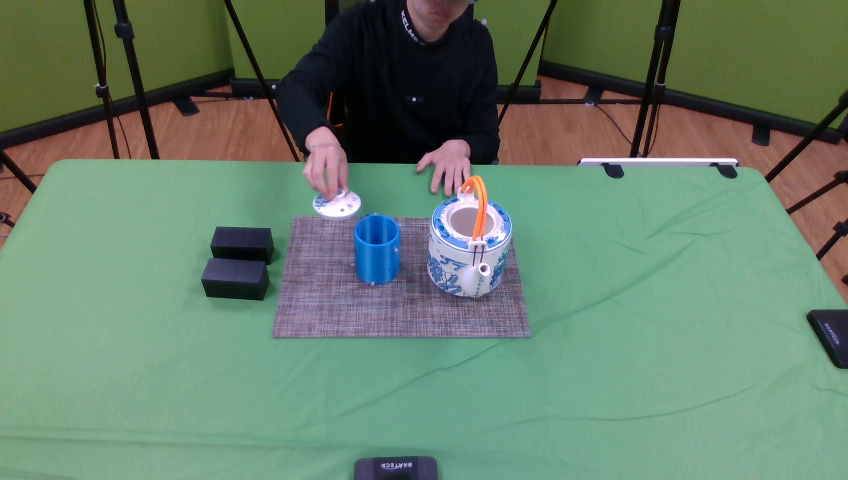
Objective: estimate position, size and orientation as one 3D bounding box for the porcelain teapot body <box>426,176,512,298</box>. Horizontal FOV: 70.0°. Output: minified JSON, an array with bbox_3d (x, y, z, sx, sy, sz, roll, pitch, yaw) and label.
[{"bbox_3d":[0.085,0.009,1.051,0.145,0.226,0.204,-4,47,-9],"label":"porcelain teapot body"}]

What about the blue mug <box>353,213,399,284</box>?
[{"bbox_3d":[-0.093,0.006,1.123,0.082,0.106,0.115,-12,48,-15],"label":"blue mug"}]

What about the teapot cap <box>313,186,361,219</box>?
[{"bbox_3d":[-0.155,-0.072,1.084,0.085,0.044,0.084,1,41,0],"label":"teapot cap"}]
